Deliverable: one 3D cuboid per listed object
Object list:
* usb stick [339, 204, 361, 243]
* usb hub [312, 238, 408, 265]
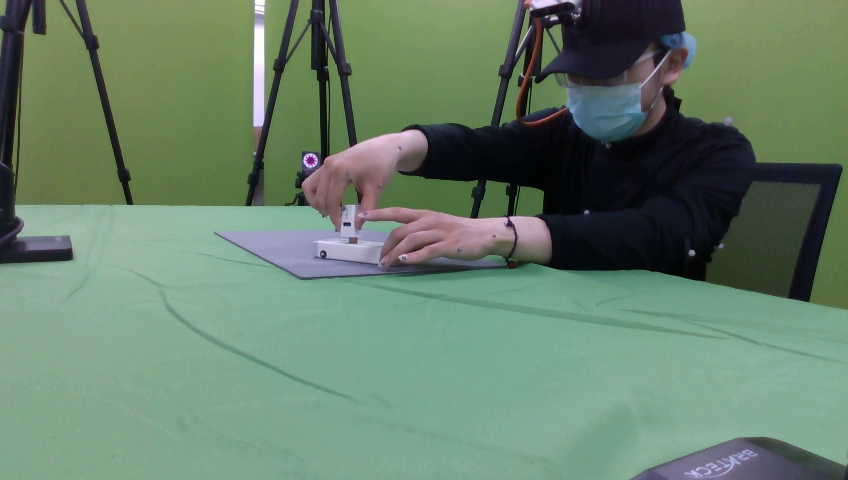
[{"bbox_3d":[-0.100,-0.019,0.816,0.021,0.059,0.027,3,6,19],"label":"usb stick"},{"bbox_3d":[-0.088,0.015,0.829,0.125,0.025,0.050,5,7,22],"label":"usb hub"}]
